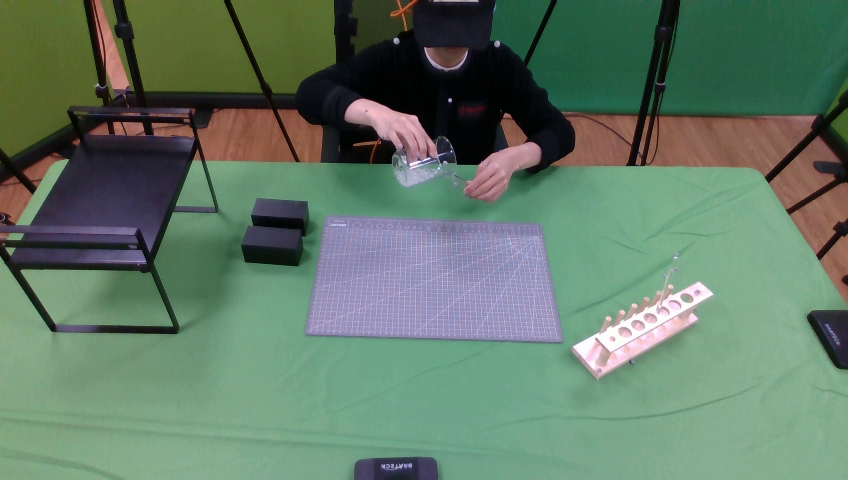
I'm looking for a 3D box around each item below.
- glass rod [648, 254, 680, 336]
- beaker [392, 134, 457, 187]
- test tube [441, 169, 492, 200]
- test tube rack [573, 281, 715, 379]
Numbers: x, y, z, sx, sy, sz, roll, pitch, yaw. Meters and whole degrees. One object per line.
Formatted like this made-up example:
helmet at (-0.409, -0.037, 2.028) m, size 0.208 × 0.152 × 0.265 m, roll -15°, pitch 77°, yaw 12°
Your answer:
glass rod at (0.390, 0.094, 0.991) m, size 0.008 × 0.201 × 0.008 m, roll -1°, pitch 44°, yaw 2°
beaker at (-0.001, -0.140, 1.100) m, size 0.100 × 0.084 × 0.073 m, roll -21°, pitch 47°, yaw -21°
test tube at (0.087, -0.107, 1.194) m, size 0.151 × 0.017 × 0.017 m, roll 23°, pitch 29°, yaw -45°
test tube rack at (0.378, 0.140, 1.038) m, size 0.242 × 0.085 × 0.066 m, roll -22°, pitch 51°, yaw -22°
